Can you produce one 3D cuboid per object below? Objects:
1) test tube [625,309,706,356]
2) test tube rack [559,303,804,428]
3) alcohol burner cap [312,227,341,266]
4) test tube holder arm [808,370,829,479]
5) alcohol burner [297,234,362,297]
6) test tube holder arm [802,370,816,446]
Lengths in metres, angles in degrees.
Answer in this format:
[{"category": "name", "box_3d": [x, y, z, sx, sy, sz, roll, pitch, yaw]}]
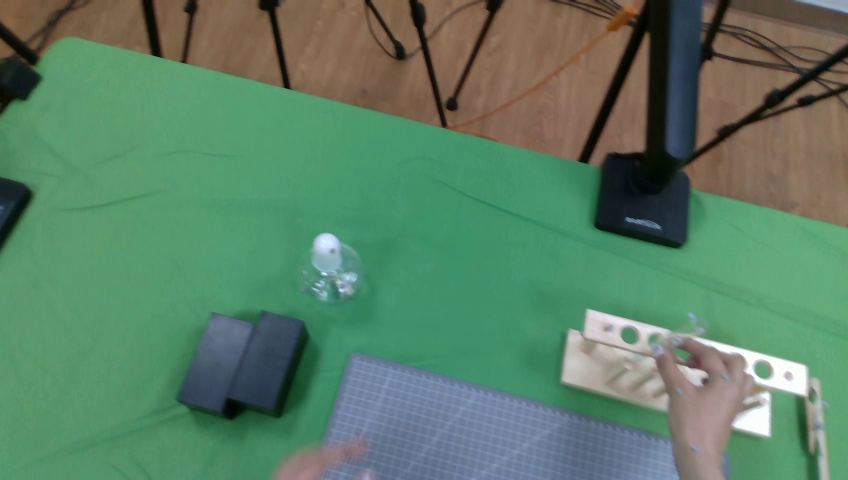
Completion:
[{"category": "test tube", "box_3d": [0.254, 0.102, 0.651, 0.017, 0.151, 0.017, 3, 67, -8]}, {"category": "test tube rack", "box_3d": [0.287, 0.145, 0.690, 0.242, 0.086, 0.066, 14, 65, 3]}, {"category": "alcohol burner cap", "box_3d": [-0.108, 0.004, 0.669, 0.034, 0.048, 0.033, 5, 60, -8]}, {"category": "test tube holder arm", "box_3d": [0.454, 0.238, 0.694, 0.013, 0.015, 0.177, -9, 60, 32]}, {"category": "alcohol burner", "box_3d": [-0.111, 0.021, 0.702, 0.078, 0.120, 0.077, 1, 63, -2]}, {"category": "test tube holder arm", "box_3d": [0.455, 0.198, 0.715, 0.010, 0.015, 0.087, -8, 61, 32]}]
